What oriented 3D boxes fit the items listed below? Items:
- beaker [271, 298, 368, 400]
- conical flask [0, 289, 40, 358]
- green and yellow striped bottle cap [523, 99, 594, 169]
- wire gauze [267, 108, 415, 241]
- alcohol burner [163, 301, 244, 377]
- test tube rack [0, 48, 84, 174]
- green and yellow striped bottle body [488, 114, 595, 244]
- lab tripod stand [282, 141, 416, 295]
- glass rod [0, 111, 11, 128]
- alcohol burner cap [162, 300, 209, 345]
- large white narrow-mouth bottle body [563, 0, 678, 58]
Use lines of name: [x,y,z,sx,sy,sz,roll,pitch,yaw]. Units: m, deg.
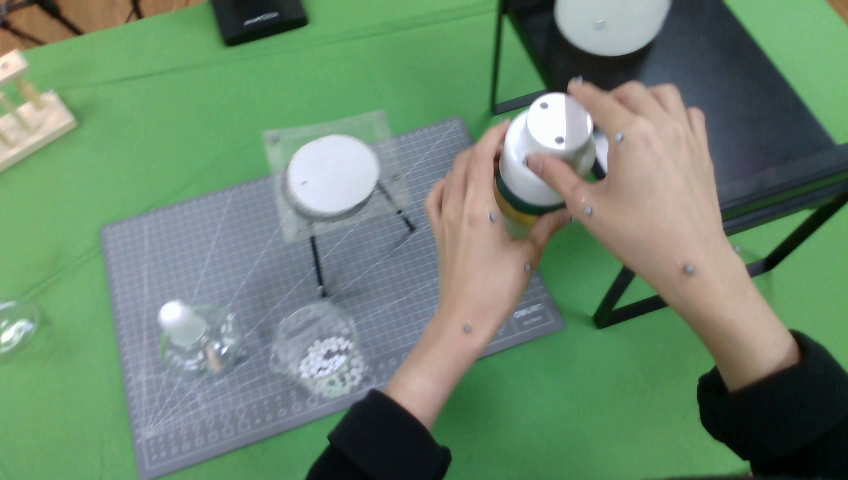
beaker: [-0.096,0.111,0.581,0.084,0.101,0.073,-29,66,-11]
conical flask: [-0.453,0.068,0.602,0.075,0.123,0.074,-1,64,2]
green and yellow striped bottle cap: [0.088,-0.070,0.396,0.045,0.020,0.045,0,66,-1]
wire gauze: [-0.079,-0.067,0.571,0.121,0.011,0.124,-13,65,-6]
alcohol burner: [-0.219,0.090,0.587,0.078,0.120,0.077,0,62,1]
test tube rack: [-0.548,-0.118,0.715,0.242,0.086,0.066,-37,69,-15]
green and yellow striped bottle body: [0.085,-0.048,0.443,0.063,0.120,0.062,1,66,-1]
lab tripod stand: [-0.083,-0.031,0.630,0.148,0.132,0.147,0,62,1]
glass rod: [-0.517,-0.192,0.675,0.008,0.201,0.008,1,61,-2]
alcohol burner cap: [-0.221,0.073,0.555,0.034,0.048,0.033,0,57,1]
large white narrow-mouth bottle body: [0.179,-0.253,0.498,0.102,0.196,0.101,-1,62,1]
